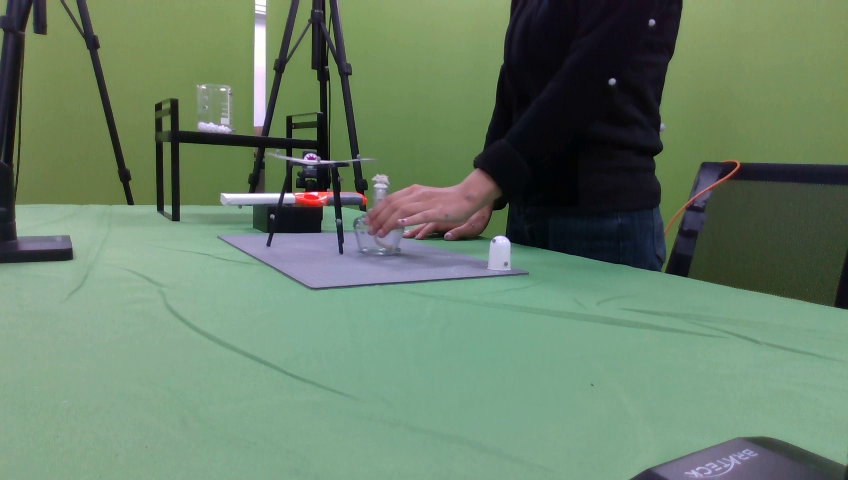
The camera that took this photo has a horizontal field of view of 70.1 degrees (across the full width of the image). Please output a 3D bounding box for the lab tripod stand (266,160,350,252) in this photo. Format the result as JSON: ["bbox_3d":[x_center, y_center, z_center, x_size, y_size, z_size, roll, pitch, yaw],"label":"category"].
[{"bbox_3d":[-0.163,-0.054,0.915,0.148,0.131,0.148,2,9,0],"label":"lab tripod stand"}]

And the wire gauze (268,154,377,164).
[{"bbox_3d":[-0.154,-0.120,0.910,0.122,0.011,0.124,-5,11,-44],"label":"wire gauze"}]

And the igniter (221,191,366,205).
[{"bbox_3d":[-0.240,-0.079,1.150,0.278,0.025,0.057,-3,20,-32],"label":"igniter"}]

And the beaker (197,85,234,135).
[{"bbox_3d":[-0.444,-0.275,1.283,0.074,0.100,0.084,5,8,22],"label":"beaker"}]

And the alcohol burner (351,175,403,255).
[{"bbox_3d":[-0.068,-0.037,0.899,0.078,0.119,0.078,4,5,0],"label":"alcohol burner"}]

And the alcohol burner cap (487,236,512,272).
[{"bbox_3d":[0.102,0.018,0.802,0.034,0.048,0.034,1,9,0],"label":"alcohol burner cap"}]
